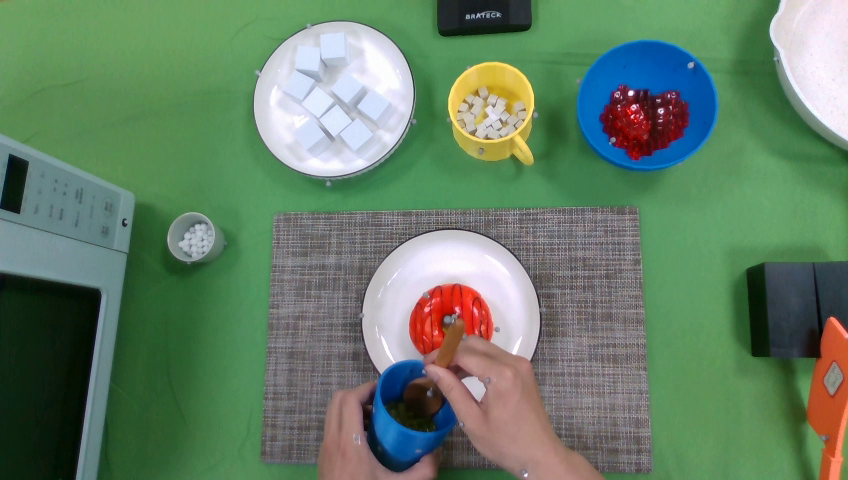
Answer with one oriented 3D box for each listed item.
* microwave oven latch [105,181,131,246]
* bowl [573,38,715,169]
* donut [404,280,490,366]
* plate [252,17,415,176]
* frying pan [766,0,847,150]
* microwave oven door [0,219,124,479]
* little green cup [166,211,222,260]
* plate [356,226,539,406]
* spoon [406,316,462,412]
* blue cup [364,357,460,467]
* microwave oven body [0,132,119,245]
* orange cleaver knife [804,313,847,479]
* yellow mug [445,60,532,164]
[{"bbox_3d":[-0.391,-0.033,0.760,0.030,0.029,0.079,6,82,7],"label":"microwave oven latch"},{"bbox_3d":[0.245,-0.146,0.701,0.151,0.077,0.151,-1,81,7],"label":"bowl"},{"bbox_3d":[0.026,0.094,0.692,0.099,0.048,0.099,-1,84,8],"label":"donut"},{"bbox_3d":[-0.113,-0.179,0.770,0.207,0.039,0.207,-1,80,7],"label":"plate"},{"bbox_3d":[0.523,-0.122,0.650,0.306,0.103,0.485,5,73,9],"label":"frying pan"},{"bbox_3d":[-0.419,0.166,0.626,0.039,0.245,0.354,2,80,7],"label":"microwave oven door"},{"bbox_3d":[-0.286,-0.003,0.761,0.061,0.039,0.061,-1,82,6],"label":"little green cup"},{"bbox_3d":[0.027,0.087,0.705,0.209,0.038,0.208,-1,81,7],"label":"plate"},{"bbox_3d":[0.008,0.117,0.549,0.041,0.195,0.021,25,57,4],"label":"spoon"},{"bbox_3d":[-0.020,0.179,0.605,0.093,0.101,0.091,11,47,-12],"label":"blue cup"},{"bbox_3d":[-0.560,0.118,0.656,0.325,0.261,0.440,3,81,7],"label":"microwave oven body"},{"bbox_3d":[0.413,0.180,0.624,0.012,0.077,0.212,-1,109,7],"label":"orange cleaver knife"},{"bbox_3d":[0.087,-0.144,0.726,0.100,0.064,0.130,-37,79,0],"label":"yellow mug"}]
